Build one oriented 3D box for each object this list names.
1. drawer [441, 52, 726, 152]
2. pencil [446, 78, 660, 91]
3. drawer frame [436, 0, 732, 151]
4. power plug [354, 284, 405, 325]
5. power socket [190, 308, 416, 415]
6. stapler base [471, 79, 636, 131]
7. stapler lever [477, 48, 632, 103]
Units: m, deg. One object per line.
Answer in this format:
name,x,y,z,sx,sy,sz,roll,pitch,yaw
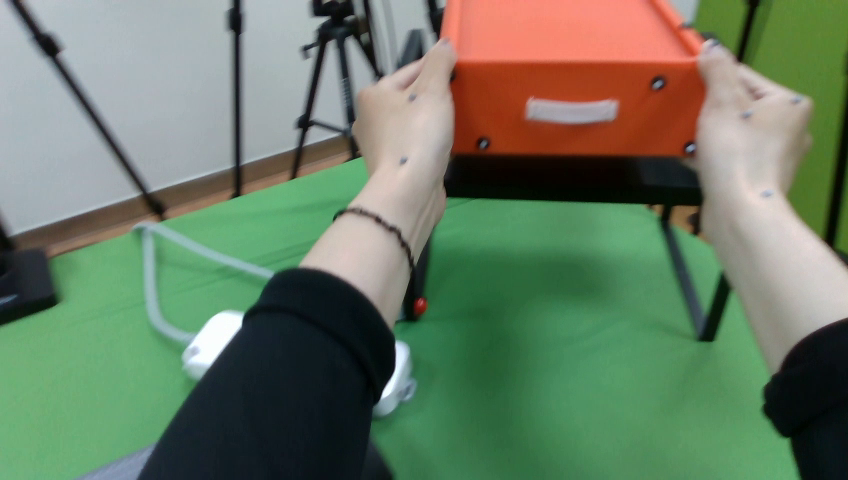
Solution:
drawer,0.117,-0.154,0.511,0.194,0.074,0.210,1,36,4
pencil,0.101,-0.132,0.514,0.192,0.012,0.012,10,39,33
drawer frame,0.116,-0.159,0.512,0.201,0.083,0.211,1,37,4
power plug,-0.051,0.073,0.646,0.072,0.035,0.052,-21,19,36
power socket,-0.118,0.114,0.583,0.226,0.033,0.072,8,39,14
stapler base,0.104,-0.113,0.488,0.130,0.024,0.041,10,37,18
stapler lever,0.102,-0.132,0.473,0.117,0.040,0.026,11,37,17
